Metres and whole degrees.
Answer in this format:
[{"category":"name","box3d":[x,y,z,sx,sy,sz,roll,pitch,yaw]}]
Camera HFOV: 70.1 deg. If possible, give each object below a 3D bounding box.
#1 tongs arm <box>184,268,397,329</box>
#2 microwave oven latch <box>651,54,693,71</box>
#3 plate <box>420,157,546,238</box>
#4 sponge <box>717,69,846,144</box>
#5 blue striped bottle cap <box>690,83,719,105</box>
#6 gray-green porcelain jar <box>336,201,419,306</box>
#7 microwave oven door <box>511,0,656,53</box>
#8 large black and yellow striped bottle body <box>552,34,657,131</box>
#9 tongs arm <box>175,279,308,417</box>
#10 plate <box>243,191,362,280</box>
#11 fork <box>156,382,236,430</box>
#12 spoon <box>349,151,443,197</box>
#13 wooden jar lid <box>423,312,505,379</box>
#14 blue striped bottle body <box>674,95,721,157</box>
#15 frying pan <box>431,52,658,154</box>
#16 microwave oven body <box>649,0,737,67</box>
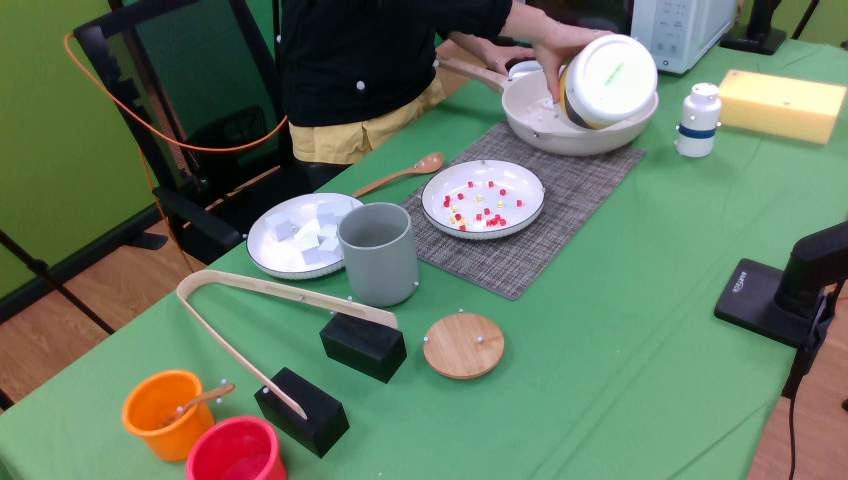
[{"category":"tongs arm","box3d":[-0.203,0.084,0.847,0.382,0.027,0.051,11,44,35]},{"category":"microwave oven latch","box3d":[0.531,-0.386,1.301,0.078,0.029,0.030,26,51,33]},{"category":"plate","box3d":[0.099,-0.067,1.017,0.209,0.038,0.208,-4,40,4]},{"category":"sponge","box3d":[0.663,-0.256,1.141,0.205,0.061,0.118,19,46,27]},{"category":"blue striped bottle cap","box3d":[0.481,-0.251,1.038,0.044,0.021,0.044,-5,40,4]},{"category":"gray-green porcelain jar","box3d":[-0.064,0.024,0.872,0.106,0.127,0.105,-4,41,4]},{"category":"microwave oven door","box3d":[0.351,-0.539,1.349,0.353,0.245,0.039,24,50,31]},{"category":"large black and yellow striped bottle body","box3d":[0.289,-0.252,1.006,0.131,0.130,0.184,-9,3,-2]},{"category":"tongs arm","box3d":[-0.255,0.132,0.800,0.028,0.028,0.384,-40,40,-24]},{"category":"plate","box3d":[-0.187,-0.005,0.992,0.207,0.039,0.206,-4,40,4]},{"category":"fork","box3d":[-0.262,0.189,0.690,0.018,0.206,0.028,48,43,-7]},{"category":"spoon","box3d":[-0.051,-0.123,1.120,0.194,0.022,0.041,-22,59,-18]},{"category":"wooden jar lid","box3d":[0.053,0.142,0.800,0.108,0.021,0.108,-5,39,4]},{"category":"blue striped bottle body","box3d":[0.486,-0.213,1.072,0.063,0.121,0.063,-4,41,4]},{"category":"frying pan","box3d":[0.216,-0.302,1.223,0.484,0.103,0.308,29,49,24]},{"category":"microwave oven body","box3d":[0.475,-0.602,1.411,0.438,0.261,0.327,23,50,32]}]
